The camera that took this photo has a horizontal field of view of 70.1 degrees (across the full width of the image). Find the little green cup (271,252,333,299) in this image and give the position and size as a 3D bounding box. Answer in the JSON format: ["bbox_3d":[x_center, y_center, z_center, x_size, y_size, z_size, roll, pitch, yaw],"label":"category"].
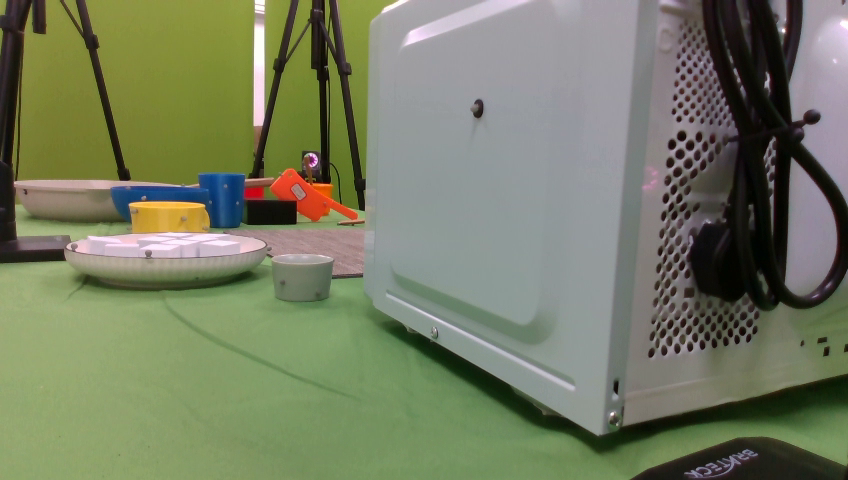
[{"bbox_3d":[-0.122,0.035,0.605,0.061,0.038,0.061,4,6,0],"label":"little green cup"}]

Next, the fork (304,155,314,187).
[{"bbox_3d":[-0.268,-0.134,1.447,0.028,0.018,0.207,1,-36,-1],"label":"fork"}]

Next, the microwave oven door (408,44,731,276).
[{"bbox_3d":[0.164,-0.083,0.673,0.357,0.243,0.039,1,8,-9],"label":"microwave oven door"}]

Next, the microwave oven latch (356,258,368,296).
[{"bbox_3d":[-0.019,0.031,0.528,0.079,0.029,0.030,-1,7,-24],"label":"microwave oven latch"}]

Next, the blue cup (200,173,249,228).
[{"bbox_3d":[-0.381,-0.076,1.155,0.093,0.100,0.092,0,8,0],"label":"blue cup"}]

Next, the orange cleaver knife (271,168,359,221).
[{"bbox_3d":[-0.236,-0.084,1.333,0.212,0.077,0.012,31,-10,-32],"label":"orange cleaver knife"}]

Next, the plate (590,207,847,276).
[{"bbox_3d":[0.247,-0.001,0.510,0.209,0.038,0.209,2,7,0],"label":"plate"}]

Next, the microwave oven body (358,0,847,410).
[{"bbox_3d":[0.210,-0.051,0.471,0.444,0.260,0.324,-1,7,-28],"label":"microwave oven body"}]

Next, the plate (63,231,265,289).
[{"bbox_3d":[-0.288,0.021,0.687,0.208,0.039,0.207,2,8,0],"label":"plate"}]

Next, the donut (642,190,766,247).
[{"bbox_3d":[0.238,-0.017,0.519,0.099,0.048,0.099,4,3,0],"label":"donut"}]

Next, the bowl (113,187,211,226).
[{"bbox_3d":[-0.436,-0.046,1.013,0.151,0.077,0.151,2,7,0],"label":"bowl"}]

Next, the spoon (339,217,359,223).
[{"bbox_3d":[-0.087,-0.041,1.268,0.193,0.021,0.041,4,22,13],"label":"spoon"}]

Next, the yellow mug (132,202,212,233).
[{"bbox_3d":[-0.356,-0.020,0.878,0.099,0.064,0.131,5,7,21],"label":"yellow mug"}]

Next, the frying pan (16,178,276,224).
[{"bbox_3d":[-0.553,-0.097,1.266,0.490,0.102,0.305,-10,13,-24],"label":"frying pan"}]
